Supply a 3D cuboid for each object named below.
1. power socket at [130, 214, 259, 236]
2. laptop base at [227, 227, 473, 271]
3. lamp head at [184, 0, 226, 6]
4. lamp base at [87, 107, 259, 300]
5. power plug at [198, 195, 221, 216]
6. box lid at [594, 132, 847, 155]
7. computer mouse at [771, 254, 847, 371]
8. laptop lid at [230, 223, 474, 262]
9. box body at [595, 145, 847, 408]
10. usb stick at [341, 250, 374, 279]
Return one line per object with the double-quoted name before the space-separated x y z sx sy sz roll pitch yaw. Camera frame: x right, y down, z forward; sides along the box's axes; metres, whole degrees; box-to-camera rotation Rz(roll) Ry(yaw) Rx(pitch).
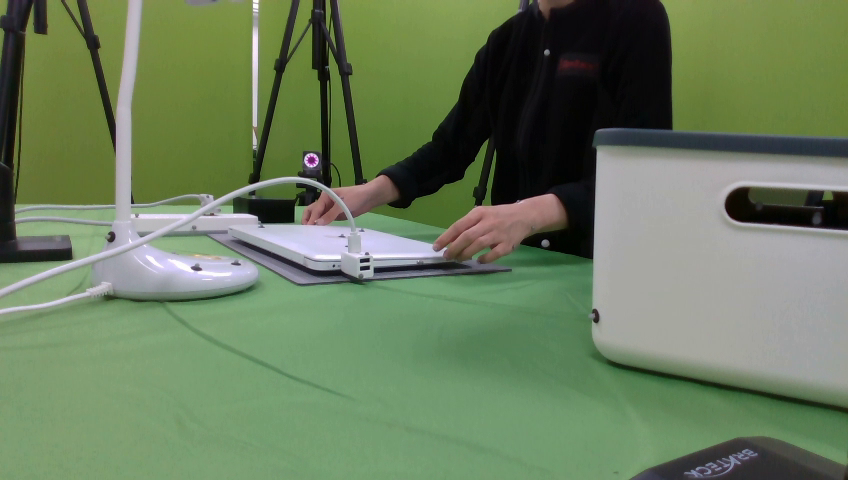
"power socket" -0.397 -0.028 1.048 0.228 0.032 0.072 -3 7 -35
"laptop base" -0.123 0.011 0.888 0.237 0.023 0.352 2 6 -35
"lamp head" -0.229 -0.320 0.627 0.112 0.112 0.123 6 -35 26
"lamp base" -0.254 -0.039 0.603 0.160 0.180 0.179 4 10 18
"power plug" -0.385 -0.055 1.088 0.035 0.052 0.072 -1 6 -24
"box lid" 0.311 -0.066 0.499 0.262 0.015 0.373 7 8 29
"computer mouse" 0.344 0.057 0.519 0.063 0.041 0.117 12 47 4
"laptop lid" -0.121 0.000 0.888 0.243 0.013 0.355 1 7 -33
"box body" 0.309 0.006 0.509 0.253 0.160 0.366 6 8 29
"usb stick" -0.078 0.026 0.686 0.021 0.027 0.059 -8 8 -30
